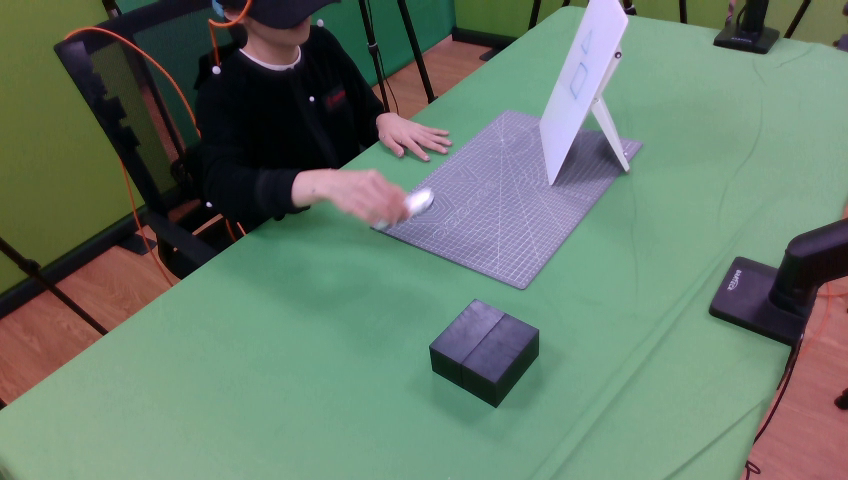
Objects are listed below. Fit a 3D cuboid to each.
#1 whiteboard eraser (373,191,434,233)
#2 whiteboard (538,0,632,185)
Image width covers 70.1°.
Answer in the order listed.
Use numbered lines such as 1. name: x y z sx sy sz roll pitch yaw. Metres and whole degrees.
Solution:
1. whiteboard eraser: -0.030 -0.043 0.894 0.101 0.019 0.041 -24 29 20
2. whiteboard: 0.327 -0.259 1.055 0.144 0.305 0.216 13 40 -6
